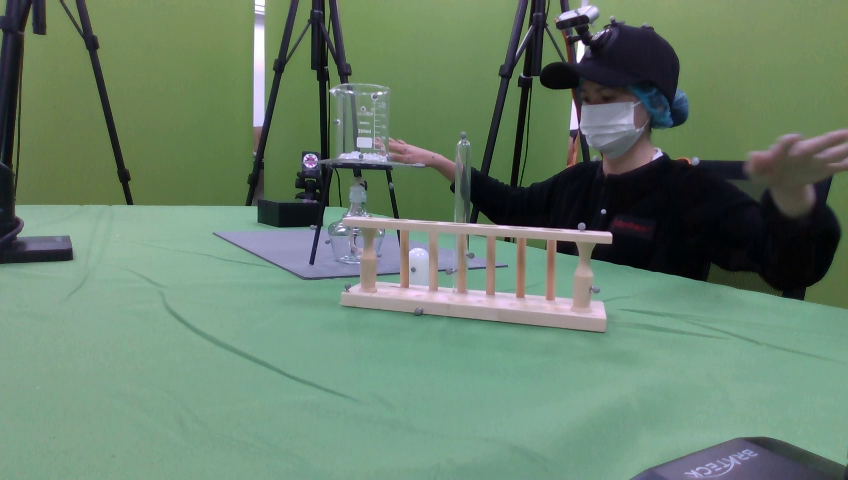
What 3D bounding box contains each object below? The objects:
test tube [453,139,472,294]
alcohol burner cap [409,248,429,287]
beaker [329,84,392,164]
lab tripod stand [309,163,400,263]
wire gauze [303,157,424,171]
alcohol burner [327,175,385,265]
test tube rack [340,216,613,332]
[{"bbox_3d":[0.037,-0.021,0.584,0.017,0.150,0.017,1,7,0],"label":"test tube"},{"bbox_3d":[-0.008,0.032,0.674,0.034,0.048,0.034,3,6,0],"label":"alcohol burner cap"},{"bbox_3d":[-0.084,-0.149,0.794,0.084,0.100,0.073,-1,6,-23],"label":"beaker"},{"bbox_3d":[-0.091,-0.037,0.813,0.148,0.131,0.148,1,6,0],"label":"lab tripod stand"},{"bbox_3d":[-0.082,-0.102,0.799,0.126,0.011,0.121,1,7,-30],"label":"wire gauze"},{"bbox_3d":[-0.090,-0.027,0.811,0.078,0.119,0.078,3,5,0],"label":"alcohol burner"},{"bbox_3d":[0.048,0.026,0.568,0.242,0.085,0.067,4,7,13],"label":"test tube rack"}]
